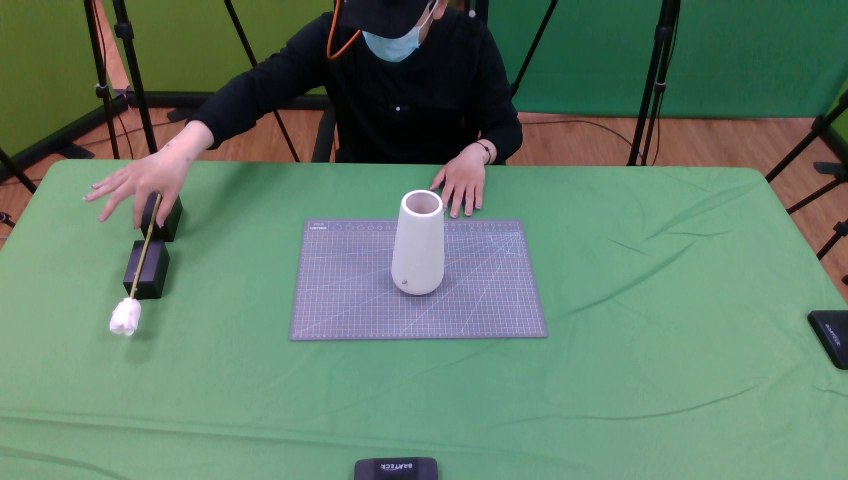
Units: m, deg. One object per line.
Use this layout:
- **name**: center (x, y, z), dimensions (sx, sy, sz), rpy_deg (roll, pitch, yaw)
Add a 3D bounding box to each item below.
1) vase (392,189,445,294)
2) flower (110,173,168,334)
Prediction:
- **vase**: center (-0.007, 0.007, 1.060), dimensions (0.098, 0.201, 0.097), rpy_deg (2, 48, -2)
- **flower**: center (-0.497, 0.008, 1.087), dimensions (0.044, 0.038, 0.359), rpy_deg (-12, 50, 9)
